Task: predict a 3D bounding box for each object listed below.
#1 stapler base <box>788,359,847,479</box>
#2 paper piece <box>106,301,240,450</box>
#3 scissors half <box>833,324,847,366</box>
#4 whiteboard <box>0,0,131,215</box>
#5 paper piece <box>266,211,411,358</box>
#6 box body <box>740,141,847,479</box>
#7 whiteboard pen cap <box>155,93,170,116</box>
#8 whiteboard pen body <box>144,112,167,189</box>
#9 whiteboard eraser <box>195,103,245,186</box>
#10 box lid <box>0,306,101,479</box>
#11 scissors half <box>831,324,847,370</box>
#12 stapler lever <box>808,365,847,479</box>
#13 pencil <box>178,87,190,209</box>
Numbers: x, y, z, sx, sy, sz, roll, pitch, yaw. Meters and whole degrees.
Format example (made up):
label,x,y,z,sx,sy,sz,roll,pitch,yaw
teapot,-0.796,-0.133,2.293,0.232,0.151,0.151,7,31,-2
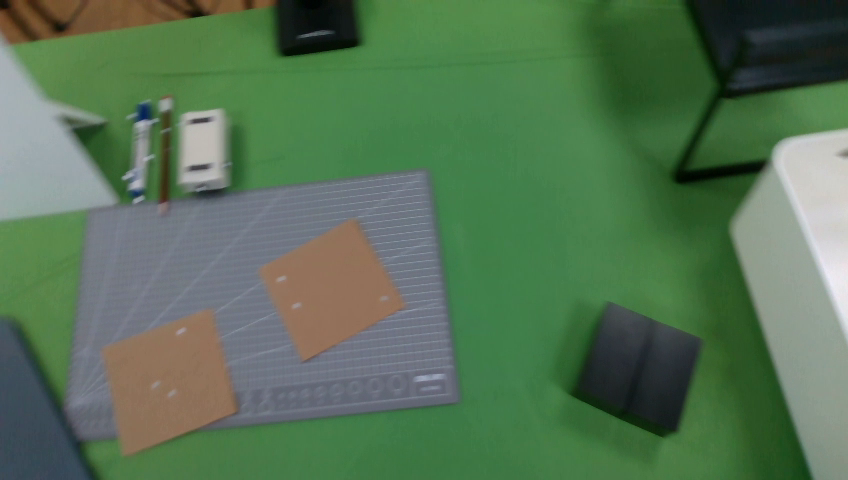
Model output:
label,x,y,z,sx,sy,sz,roll,pitch,yaw
stapler base,0.410,0.186,0.614,0.041,0.024,0.130,-11,74,12
paper piece,-0.289,0.151,0.693,0.135,0.004,0.134,-19,67,-5
scissors half,0.448,0.169,0.622,0.040,0.013,0.174,0,62,7
whiteboard,-0.507,-0.194,0.733,0.217,0.308,0.142,-6,47,3
paper piece,-0.105,0.051,0.722,0.136,0.009,0.137,-28,69,-3
box body,0.489,0.095,0.574,0.254,0.161,0.361,-6,66,3
whiteboard pen cap,-0.363,-0.186,0.840,0.018,0.018,0.033,-7,65,2
whiteboard pen body,-0.361,-0.132,0.818,0.017,0.017,0.139,-5,66,3
whiteboard eraser,-0.266,-0.125,0.795,0.055,0.042,0.112,-6,67,3
box lid,-0.503,0.272,0.659,0.263,0.015,0.368,-35,69,-10
scissors half,0.469,0.166,0.622,0.040,0.013,0.173,-14,62,-6
stapler lever,0.405,0.181,0.590,0.027,0.040,0.117,-11,73,12
pencil,-0.324,-0.127,0.817,0.012,0.012,0.192,-8,67,1
